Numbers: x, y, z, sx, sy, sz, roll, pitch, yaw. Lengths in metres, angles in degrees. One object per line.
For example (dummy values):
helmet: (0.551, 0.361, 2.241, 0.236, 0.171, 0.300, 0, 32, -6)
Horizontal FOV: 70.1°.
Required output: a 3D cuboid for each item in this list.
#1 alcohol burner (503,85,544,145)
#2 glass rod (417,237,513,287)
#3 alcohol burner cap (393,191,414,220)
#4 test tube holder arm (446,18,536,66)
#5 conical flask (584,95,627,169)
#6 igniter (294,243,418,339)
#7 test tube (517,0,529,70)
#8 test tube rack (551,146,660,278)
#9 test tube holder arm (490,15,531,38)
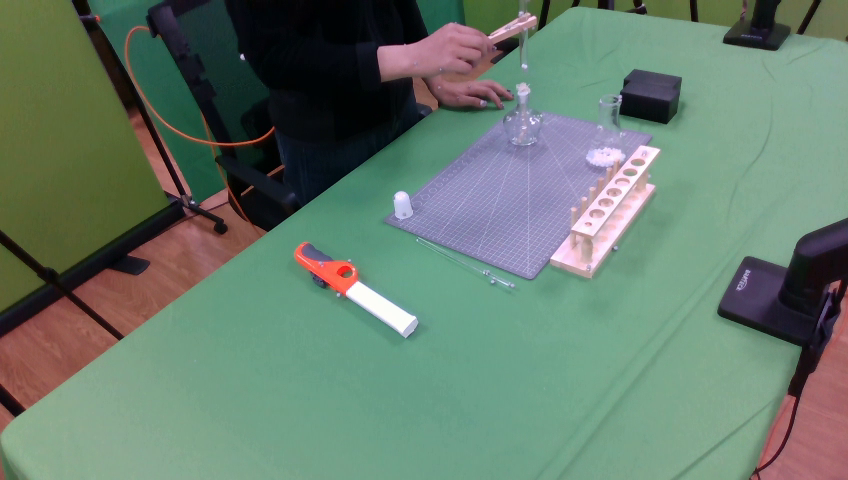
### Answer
alcohol burner: (0.191, -0.243, 1.160, 0.078, 0.119, 0.077, -4, 40, 4)
glass rod: (0.059, 0.033, 0.945, 0.198, 0.008, 0.008, 26, 52, 38)
alcohol burner cap: (-0.037, -0.062, 1.045, 0.034, 0.048, 0.033, -5, 41, 5)
test tube holder arm: (0.115, -0.334, 1.016, 0.179, 0.015, 0.013, -30, 46, -16)
conical flask: (0.324, -0.192, 1.066, 0.075, 0.122, 0.075, -6, 40, 5)
igniter: (-0.114, 0.070, 0.919, 0.274, 0.025, 0.057, 29, 63, 37)
test tube: (0.172, -0.360, 1.048, 0.017, 0.151, 0.017, -6, 49, 7)
test tube rack: (0.286, -0.053, 0.944, 0.066, 0.085, 0.243, 21, 49, 32)
test tube holder arm: (0.148, -0.359, 1.033, 0.088, 0.015, 0.010, -35, 48, -20)
